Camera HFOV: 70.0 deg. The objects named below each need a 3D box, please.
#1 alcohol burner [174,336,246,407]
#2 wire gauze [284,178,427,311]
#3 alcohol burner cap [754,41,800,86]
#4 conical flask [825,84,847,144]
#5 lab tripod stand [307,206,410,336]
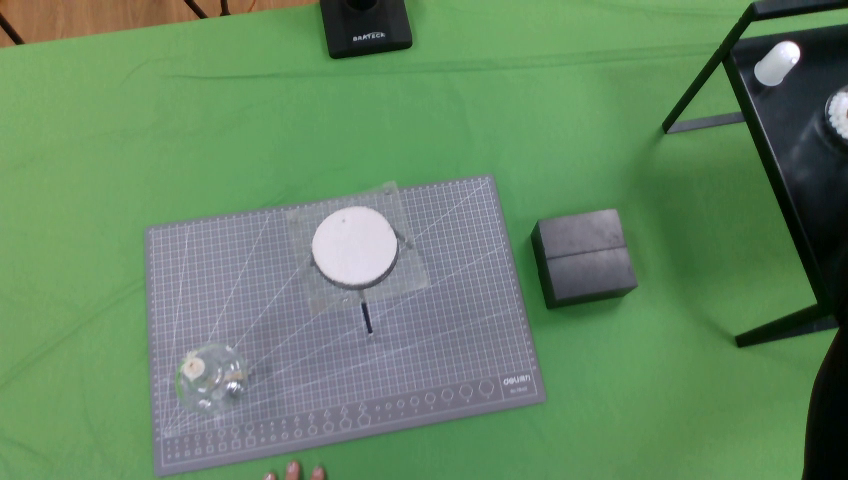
[{"bbox_3d":[-0.235,0.139,0.654,0.078,0.120,0.077,1,69,-2],"label":"alcohol burner"},{"bbox_3d":[-0.072,0.003,0.625,0.125,0.011,0.120,-15,73,-8],"label":"wire gauze"},{"bbox_3d":[0.375,-0.189,0.638,0.034,0.048,0.033,1,72,-1],"label":"alcohol burner cap"},{"bbox_3d":[0.460,-0.146,0.586,0.075,0.122,0.075,1,71,-2],"label":"conical flask"},{"bbox_3d":[-0.073,0.023,0.688,0.148,0.132,0.147,1,69,-2],"label":"lab tripod stand"}]
